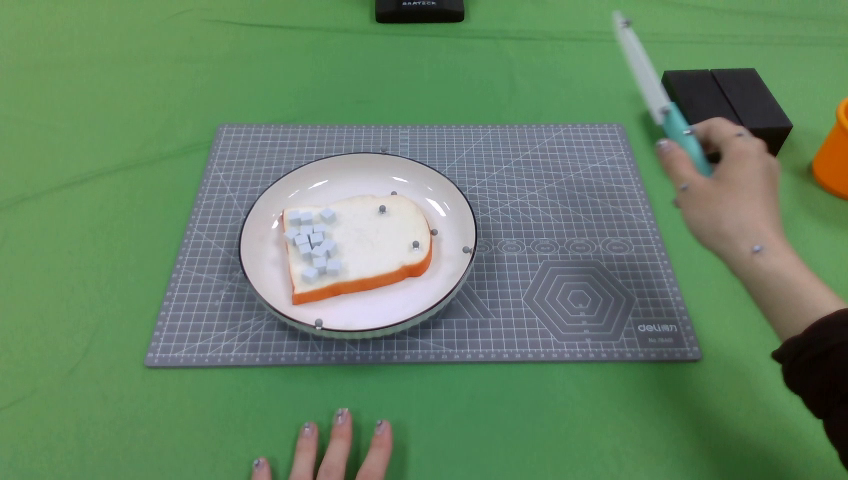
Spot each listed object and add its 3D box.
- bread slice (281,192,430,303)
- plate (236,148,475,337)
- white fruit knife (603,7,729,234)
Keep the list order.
[{"bbox_3d":[-0.061,-0.002,0.547,0.132,0.019,0.103,-13,53,-9],"label":"bread slice"},{"bbox_3d":[-0.059,0.001,0.542,0.209,0.038,0.207,1,51,-1],"label":"plate"},{"bbox_3d":[0.194,-0.102,0.493,0.016,0.027,0.206,-22,81,-17],"label":"white fruit knife"}]
